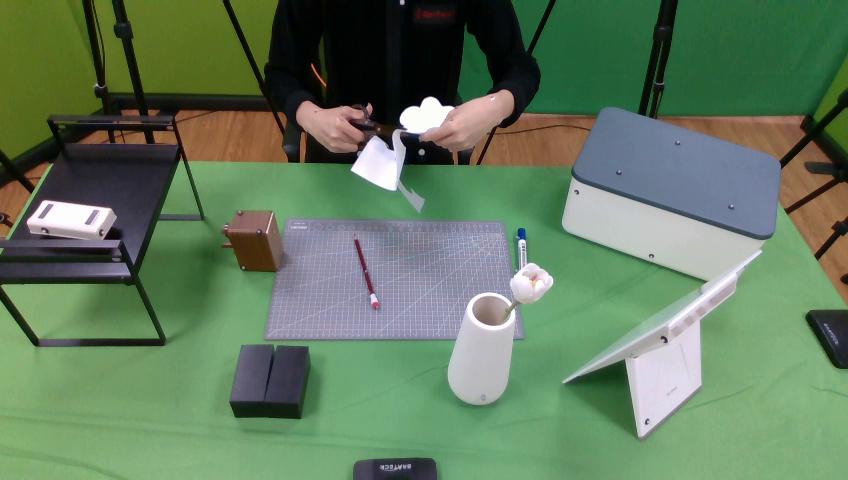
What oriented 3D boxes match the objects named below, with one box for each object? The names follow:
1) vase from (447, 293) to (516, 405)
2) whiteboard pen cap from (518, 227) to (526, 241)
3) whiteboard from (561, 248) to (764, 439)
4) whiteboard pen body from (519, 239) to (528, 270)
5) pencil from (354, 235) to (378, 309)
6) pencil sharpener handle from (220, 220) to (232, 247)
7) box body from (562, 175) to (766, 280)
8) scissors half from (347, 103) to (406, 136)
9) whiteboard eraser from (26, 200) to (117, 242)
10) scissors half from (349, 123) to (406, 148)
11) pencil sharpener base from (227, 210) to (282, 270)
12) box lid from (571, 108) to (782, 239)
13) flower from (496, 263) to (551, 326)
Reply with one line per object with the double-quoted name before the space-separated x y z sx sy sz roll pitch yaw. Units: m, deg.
"vase" 0.091 0.169 0.921 0.098 0.201 0.097 3 47 -3
"whiteboard pen cap" 0.197 -0.009 1.220 0.018 0.018 0.033 5 51 1
"whiteboard" 0.386 0.176 0.905 0.217 0.306 0.143 -26 72 -27
"whiteboard pen body" 0.193 0.035 1.181 0.017 0.017 0.140 6 48 1
"pencil" -0.113 0.055 1.143 0.012 0.012 0.192 -10 46 -13
"pencil sharpener handle" -0.362 -0.009 1.105 0.030 0.068 0.036 1 52 1
"box body" 0.486 -0.088 1.222 0.363 0.161 0.253 20 48 15
"scissors half" -0.085 -0.207 1.060 0.013 0.040 0.174 -20 36 -34
"whiteboard eraser" -0.532 -0.026 0.919 0.113 0.042 0.055 7 45 3
"scissors half" -0.084 -0.187 1.066 0.013 0.040 0.174 -14 10 -36
"pencil sharpener base" -0.311 0.001 1.112 0.077 0.107 0.061 1 47 1
"box lid" 0.491 -0.139 1.168 0.370 0.015 0.262 21 49 15
"flower" 0.102 0.121 0.853 0.044 0.363 0.038 -2 64 -10
